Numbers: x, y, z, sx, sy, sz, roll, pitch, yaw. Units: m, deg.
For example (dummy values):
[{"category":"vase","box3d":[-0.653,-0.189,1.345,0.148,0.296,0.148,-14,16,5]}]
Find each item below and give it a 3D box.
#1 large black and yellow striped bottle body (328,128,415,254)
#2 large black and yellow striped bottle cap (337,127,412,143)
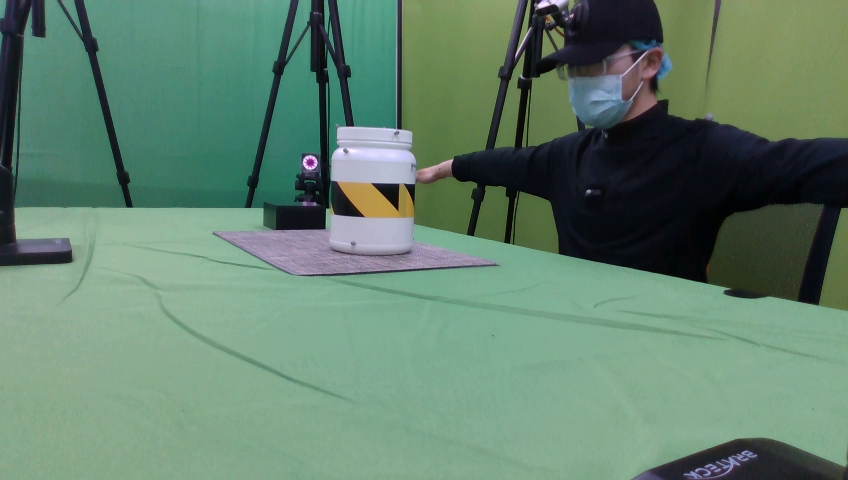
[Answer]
[{"category":"large black and yellow striped bottle body","box3d":[-0.080,-0.077,0.929,0.131,0.184,0.130,3,7,0]},{"category":"large black and yellow striped bottle cap","box3d":[-0.075,-0.160,0.920,0.115,0.019,0.115,3,8,0]}]
